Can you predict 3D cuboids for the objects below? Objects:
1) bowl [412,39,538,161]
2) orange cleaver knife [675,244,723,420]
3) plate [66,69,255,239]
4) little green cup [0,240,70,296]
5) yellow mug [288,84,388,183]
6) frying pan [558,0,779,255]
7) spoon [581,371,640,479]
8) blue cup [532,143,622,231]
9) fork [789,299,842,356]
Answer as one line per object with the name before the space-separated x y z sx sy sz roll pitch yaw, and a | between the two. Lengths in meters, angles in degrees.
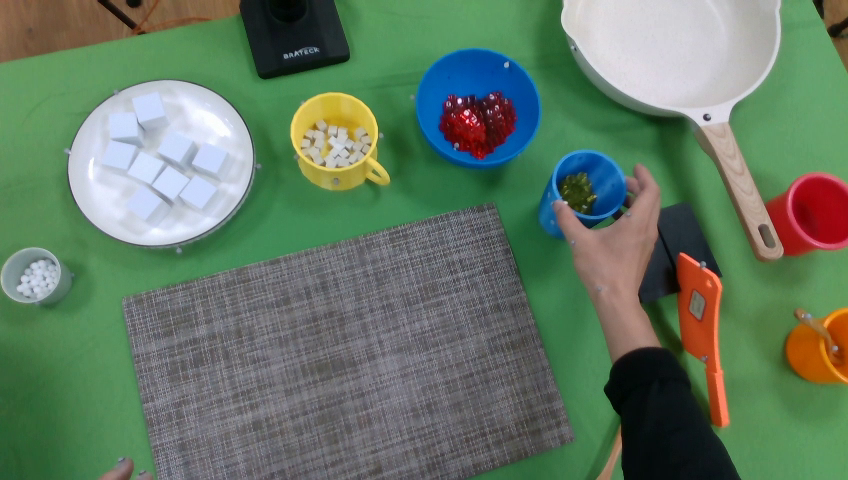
bowl | 0.057 -0.159 0.744 0.151 0.077 0.150 1 77 -6
orange cleaver knife | 0.319 0.108 0.706 0.012 0.076 0.212 -16 107 -9
plate | -0.303 -0.099 0.712 0.208 0.039 0.206 1 77 -5
little green cup | -0.425 0.033 0.666 0.061 0.039 0.061 1 78 -6
yellow mug | -0.096 -0.117 0.724 0.131 0.064 0.100 37 76 2
frying pan | 0.337 -0.206 0.770 0.307 0.103 0.484 -10 70 -7
spoon | 0.212 0.238 0.694 0.041 0.022 0.193 26 75 13
blue cup | 0.172 -0.054 0.718 0.093 0.100 0.092 3 72 -9
fork | 0.446 0.100 0.686 0.209 0.018 0.028 28 71 -44
